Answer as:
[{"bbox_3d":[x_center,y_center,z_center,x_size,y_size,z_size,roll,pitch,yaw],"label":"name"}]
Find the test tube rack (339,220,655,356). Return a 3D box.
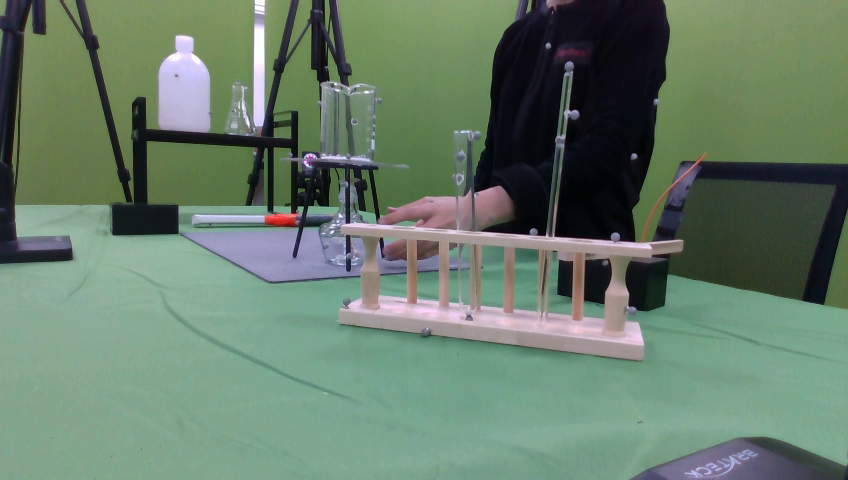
[{"bbox_3d":[0.056,0.032,0.495,0.242,0.085,0.067,4,7,15],"label":"test tube rack"}]

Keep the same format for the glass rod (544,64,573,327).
[{"bbox_3d":[0.101,-0.028,0.453,0.008,0.199,0.008,2,13,0],"label":"glass rod"}]

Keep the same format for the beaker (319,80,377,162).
[{"bbox_3d":[-0.098,-0.150,0.777,0.074,0.100,0.084,1,7,-7],"label":"beaker"}]

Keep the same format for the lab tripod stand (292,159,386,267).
[{"bbox_3d":[-0.105,-0.039,0.798,0.148,0.131,0.148,2,5,0],"label":"lab tripod stand"}]

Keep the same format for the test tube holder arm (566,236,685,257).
[{"bbox_3d":[0.215,0.006,0.630,0.179,0.015,0.013,-3,8,-31],"label":"test tube holder arm"}]

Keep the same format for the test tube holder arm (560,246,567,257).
[{"bbox_3d":[0.173,0.008,0.612,0.088,0.015,0.010,-3,7,-30],"label":"test tube holder arm"}]

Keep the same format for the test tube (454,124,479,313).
[{"bbox_3d":[0.034,-0.015,0.477,0.017,0.150,0.017,-2,9,1],"label":"test tube"}]

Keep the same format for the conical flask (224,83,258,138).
[{"bbox_3d":[-0.422,-0.299,1.395,0.075,0.122,0.075,2,7,0],"label":"conical flask"}]

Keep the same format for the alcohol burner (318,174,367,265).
[{"bbox_3d":[-0.100,-0.028,0.790,0.078,0.119,0.078,0,6,0],"label":"alcohol burner"}]

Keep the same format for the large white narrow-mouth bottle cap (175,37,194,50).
[{"bbox_3d":[-0.501,-0.409,1.264,0.038,0.024,0.037,2,7,0],"label":"large white narrow-mouth bottle cap"}]

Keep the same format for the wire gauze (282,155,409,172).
[{"bbox_3d":[-0.104,-0.103,0.785,0.126,0.011,0.121,1,8,-39],"label":"wire gauze"}]

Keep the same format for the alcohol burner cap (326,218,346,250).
[{"bbox_3d":[-0.133,-0.010,0.927,0.034,0.048,0.034,6,7,0],"label":"alcohol burner cap"}]

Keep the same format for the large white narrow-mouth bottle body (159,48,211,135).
[{"bbox_3d":[-0.503,-0.322,1.275,0.102,0.194,0.102,2,7,0],"label":"large white narrow-mouth bottle body"}]

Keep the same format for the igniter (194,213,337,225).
[{"bbox_3d":[-0.306,-0.042,1.196,0.278,0.025,0.057,-1,-2,-31],"label":"igniter"}]
